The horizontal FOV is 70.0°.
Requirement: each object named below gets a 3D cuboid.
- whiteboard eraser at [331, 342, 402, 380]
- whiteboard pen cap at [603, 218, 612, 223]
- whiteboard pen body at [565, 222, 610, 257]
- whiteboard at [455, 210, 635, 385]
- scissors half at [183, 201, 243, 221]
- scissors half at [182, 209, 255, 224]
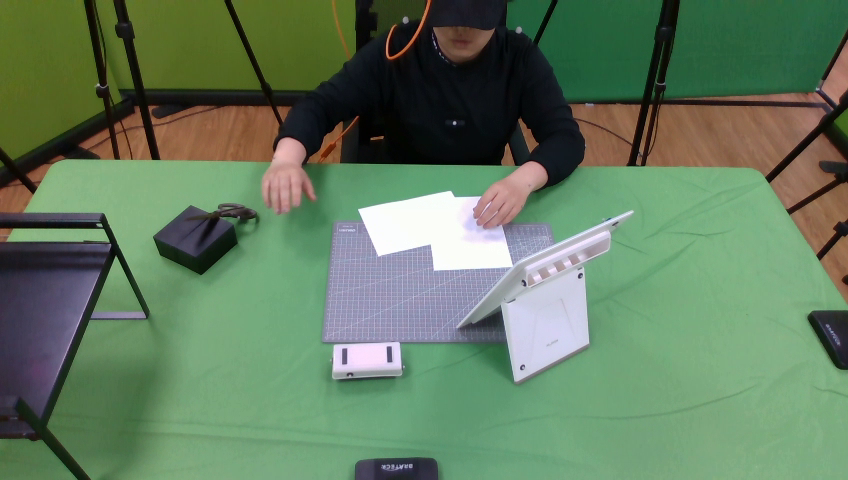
[{"bbox_3d":[-0.094,0.198,0.986,0.113,0.042,0.055,-2,44,-6],"label":"whiteboard eraser"},{"bbox_3d":[0.378,-0.031,1.255,0.033,0.018,0.018,-34,57,-30],"label":"whiteboard pen cap"},{"bbox_3d":[0.335,-0.004,1.228,0.141,0.017,0.017,-32,56,-29],"label":"whiteboard pen body"},{"bbox_3d":[0.211,0.111,0.955,0.217,0.306,0.143,-21,72,-23],"label":"whiteboard"},{"bbox_3d":[-0.405,-0.054,1.163,0.040,0.013,0.175,28,19,7],"label":"scissors half"},{"bbox_3d":[-0.389,-0.042,1.158,0.040,0.013,0.175,40,22,22],"label":"scissors half"}]
